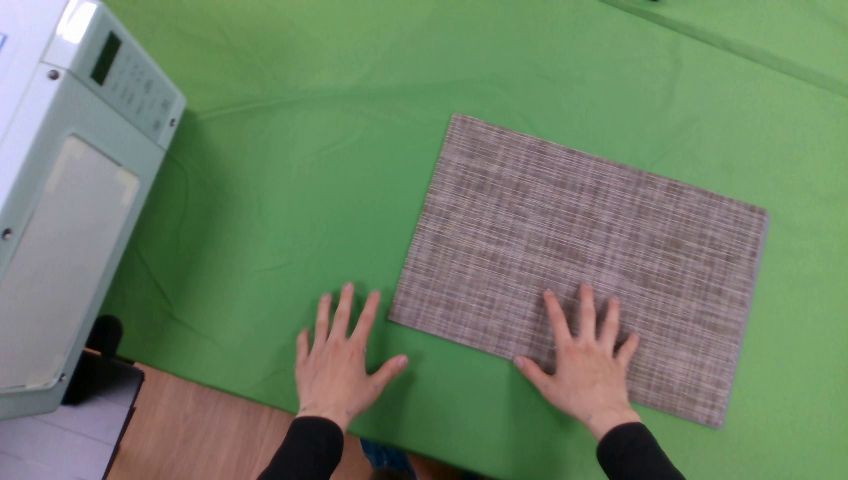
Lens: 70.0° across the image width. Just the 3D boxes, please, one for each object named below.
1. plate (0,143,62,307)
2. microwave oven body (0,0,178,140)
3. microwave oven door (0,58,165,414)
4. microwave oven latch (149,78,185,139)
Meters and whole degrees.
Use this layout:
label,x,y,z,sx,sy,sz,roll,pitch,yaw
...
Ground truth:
label,x,y,z,sx,sy,sz,roll,pitch,yaw
plate,-0.534,-0.015,0.719,0.209,0.038,0.208,1,83,-4
microwave oven body,-0.534,-0.071,0.670,0.326,0.261,0.440,18,82,1
microwave oven door,-0.409,0.013,0.656,0.039,0.244,0.355,18,81,2
microwave oven latch,-0.340,-0.174,0.790,0.030,0.029,0.079,20,82,1
